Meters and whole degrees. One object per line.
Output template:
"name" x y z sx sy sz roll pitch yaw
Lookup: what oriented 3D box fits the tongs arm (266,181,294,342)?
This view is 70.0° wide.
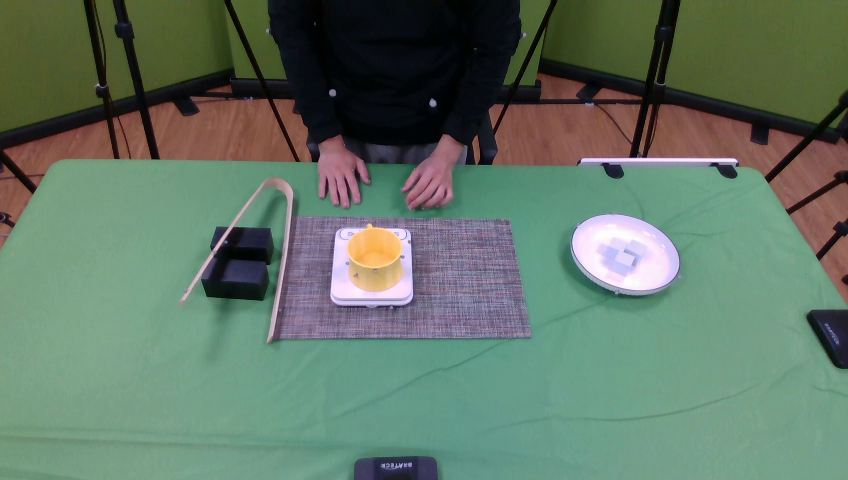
"tongs arm" -0.273 0.027 1.144 0.028 0.028 0.385 17 42 -22

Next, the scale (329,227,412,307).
"scale" -0.099 0.042 1.139 0.149 0.032 0.199 1 46 -4

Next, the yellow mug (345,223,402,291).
"yellow mug" -0.092 0.022 1.093 0.100 0.064 0.130 -7 46 -10

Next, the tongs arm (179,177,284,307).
"tongs arm" -0.342 -0.008 1.118 0.051 0.026 0.382 29 38 -14

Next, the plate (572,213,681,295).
"plate" 0.392 0.030 1.189 0.208 0.039 0.206 2 46 -2
